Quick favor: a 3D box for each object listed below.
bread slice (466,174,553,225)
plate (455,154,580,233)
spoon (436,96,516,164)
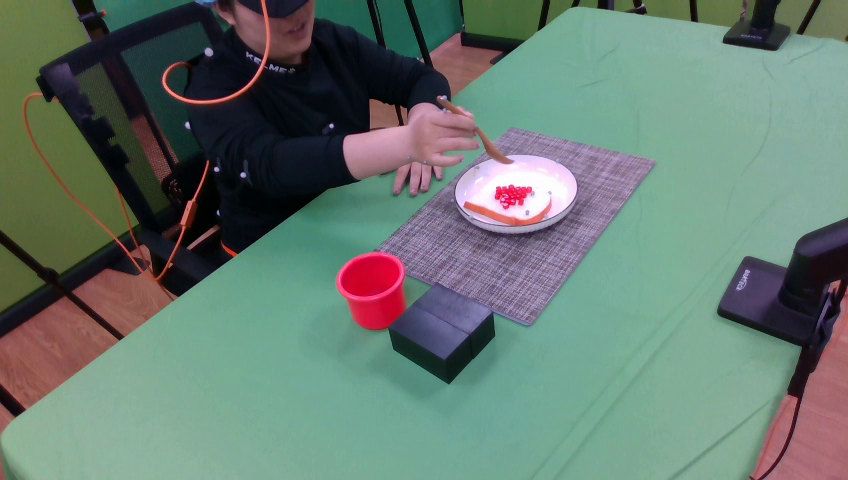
[{"bbox_3d":[0.152,-0.068,1.022,0.130,0.019,0.105,23,50,33],"label":"bread slice"},{"bbox_3d":[0.159,-0.076,1.028,0.209,0.038,0.208,-5,40,5],"label":"plate"},{"bbox_3d":[0.078,-0.162,0.899,0.041,0.195,0.021,29,85,47],"label":"spoon"}]
